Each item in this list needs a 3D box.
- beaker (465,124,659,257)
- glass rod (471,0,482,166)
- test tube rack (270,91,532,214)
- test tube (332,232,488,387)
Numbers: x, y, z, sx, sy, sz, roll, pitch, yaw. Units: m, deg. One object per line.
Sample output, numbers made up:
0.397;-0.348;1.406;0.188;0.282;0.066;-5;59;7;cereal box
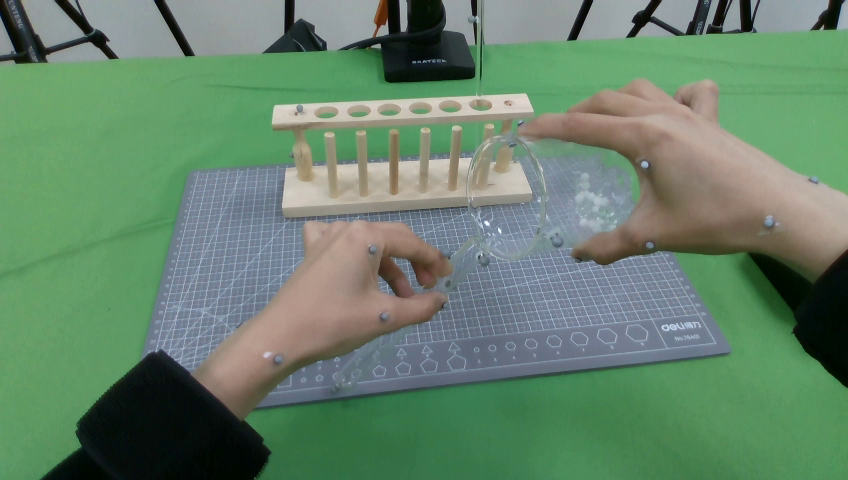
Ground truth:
0.086;-0.031;0.373;0.101;0.084;0.073;-8;54;-28;beaker
0.049;-0.158;0.569;0.008;0.201;0.008;-1;36;1;glass rod
-0.019;-0.085;0.586;0.243;0.086;0.066;-4;43;-5;test tube rack
-0.013;0.050;0.404;0.017;0.150;0.017;37;21;-17;test tube
